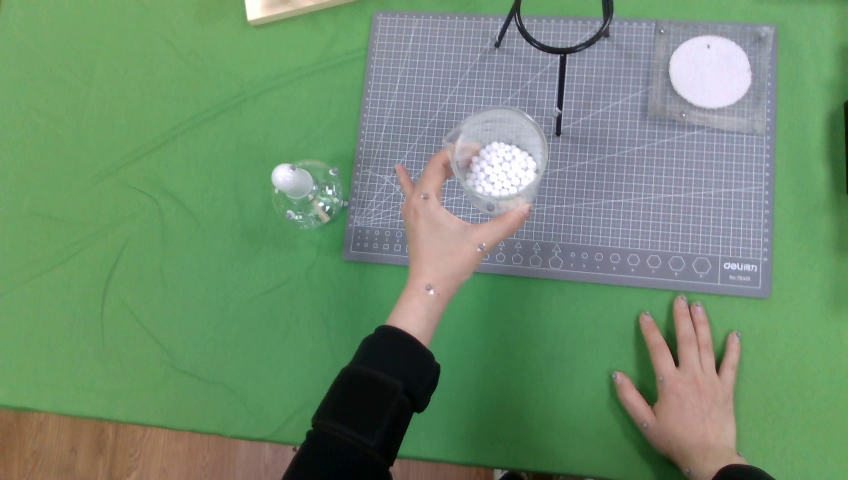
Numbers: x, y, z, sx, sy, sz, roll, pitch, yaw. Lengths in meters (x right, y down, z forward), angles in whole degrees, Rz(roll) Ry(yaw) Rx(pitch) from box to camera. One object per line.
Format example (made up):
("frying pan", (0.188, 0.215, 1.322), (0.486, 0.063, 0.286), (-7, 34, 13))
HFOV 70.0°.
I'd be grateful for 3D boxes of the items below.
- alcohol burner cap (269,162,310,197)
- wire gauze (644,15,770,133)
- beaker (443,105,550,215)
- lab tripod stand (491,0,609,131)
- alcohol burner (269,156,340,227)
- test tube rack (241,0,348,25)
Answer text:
("alcohol burner cap", (-0.137, -0.062, 0.604), (0.034, 0.048, 0.034), (-1, 84, 7))
("wire gauze", (0.305, -0.183, 0.653), (0.125, 0.011, 0.121), (9, 82, 6))
("beaker", (0.060, -0.062, 0.507), (0.084, 0.100, 0.074), (16, 86, 9))
("lab tripod stand", (0.133, -0.202, 0.614), (0.148, 0.132, 0.148), (-1, 82, 6))
("alcohol burner", (-0.131, -0.056, 0.639), (0.078, 0.119, 0.077), (-1, 79, 6))
("test tube rack", (-0.108, -0.325, 0.693), (0.242, 0.085, 0.066), (-12, 79, 5))
